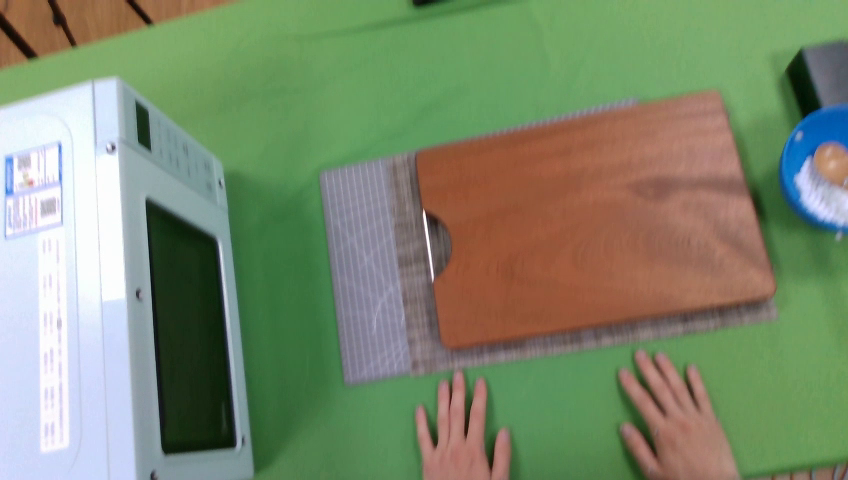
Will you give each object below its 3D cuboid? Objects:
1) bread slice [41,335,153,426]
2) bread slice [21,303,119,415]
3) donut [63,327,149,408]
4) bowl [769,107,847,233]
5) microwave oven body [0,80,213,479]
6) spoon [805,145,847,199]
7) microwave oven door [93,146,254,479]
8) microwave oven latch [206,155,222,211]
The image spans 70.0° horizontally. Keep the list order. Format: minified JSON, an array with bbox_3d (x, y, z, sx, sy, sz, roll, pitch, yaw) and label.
[{"bbox_3d":[-0.414,0.171,0.759,0.131,0.019,0.104,6,79,7],"label":"bread slice"},{"bbox_3d":[-0.406,0.145,0.692,0.134,0.018,0.106,-22,74,16],"label":"bread slice"},{"bbox_3d":[-0.386,0.154,0.735,0.099,0.048,0.099,0,88,-3],"label":"donut"},{"bbox_3d":[0.481,-0.072,0.719,0.151,0.077,0.150,-2,75,9],"label":"bowl"},{"bbox_3d":[-0.431,0.096,0.724,0.326,0.262,0.439,-13,74,5],"label":"microwave oven body"},{"bbox_3d":[0.486,-0.035,0.676,0.041,0.022,0.191,-12,50,4],"label":"spoon"},{"bbox_3d":[-0.282,0.099,0.694,0.039,0.245,0.353,-14,73,6],"label":"microwave oven door"},{"bbox_3d":[-0.305,-0.078,0.852,0.030,0.030,0.078,-14,74,5],"label":"microwave oven latch"}]
